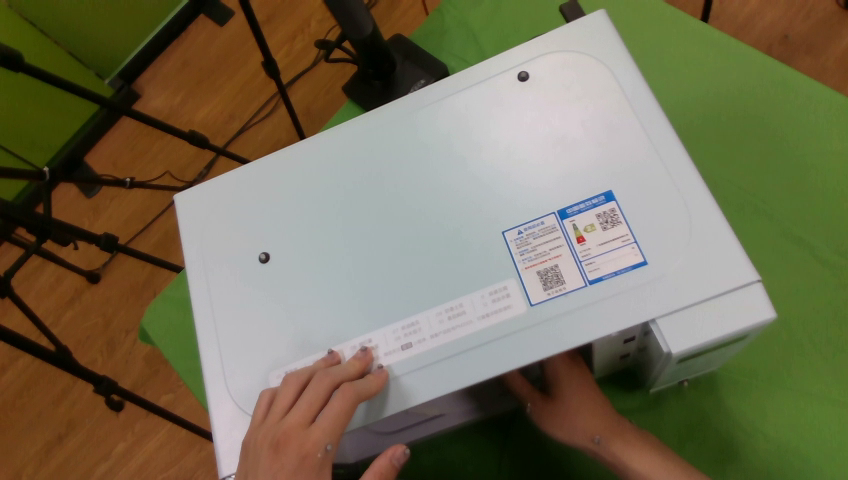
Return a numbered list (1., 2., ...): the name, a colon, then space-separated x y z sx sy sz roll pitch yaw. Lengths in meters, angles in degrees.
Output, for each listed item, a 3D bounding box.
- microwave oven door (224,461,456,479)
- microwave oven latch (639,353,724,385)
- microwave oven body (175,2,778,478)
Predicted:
1. microwave oven door: 0.040 0.239 0.530 0.355 0.246 0.039 2 72 16
2. microwave oven latch: 0.264 0.124 0.623 0.079 0.030 0.030 -20 67 8
3. microwave oven body: 0.032 0.030 0.614 0.441 0.262 0.323 -22 67 7
